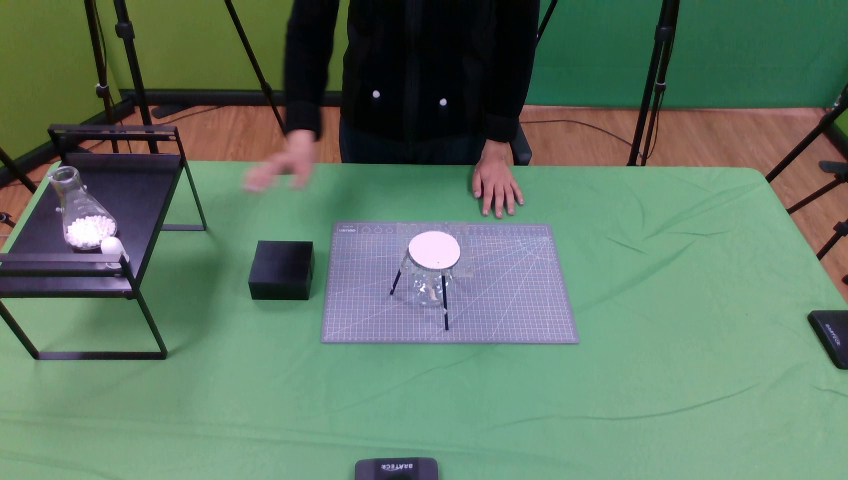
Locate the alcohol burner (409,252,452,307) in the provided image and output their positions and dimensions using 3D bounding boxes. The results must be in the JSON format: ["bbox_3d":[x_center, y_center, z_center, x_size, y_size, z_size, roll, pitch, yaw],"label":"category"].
[{"bbox_3d":[0.013,0.063,1.071,0.078,0.119,0.077,4,45,-3],"label":"alcohol burner"}]

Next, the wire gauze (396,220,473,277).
[{"bbox_3d":[0.016,0.012,1.013,0.125,0.011,0.120,1,47,-5],"label":"wire gauze"}]

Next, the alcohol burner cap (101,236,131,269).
[{"bbox_3d":[-0.452,0.016,0.883,0.034,0.048,0.033,2,46,-1],"label":"alcohol burner cap"}]

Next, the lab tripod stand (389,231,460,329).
[{"bbox_3d":[0.015,0.063,1.058,0.148,0.132,0.147,4,46,-4],"label":"lab tripod stand"}]

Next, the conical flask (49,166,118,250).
[{"bbox_3d":[-0.505,-0.051,0.888,0.075,0.122,0.075,2,46,-2],"label":"conical flask"}]
